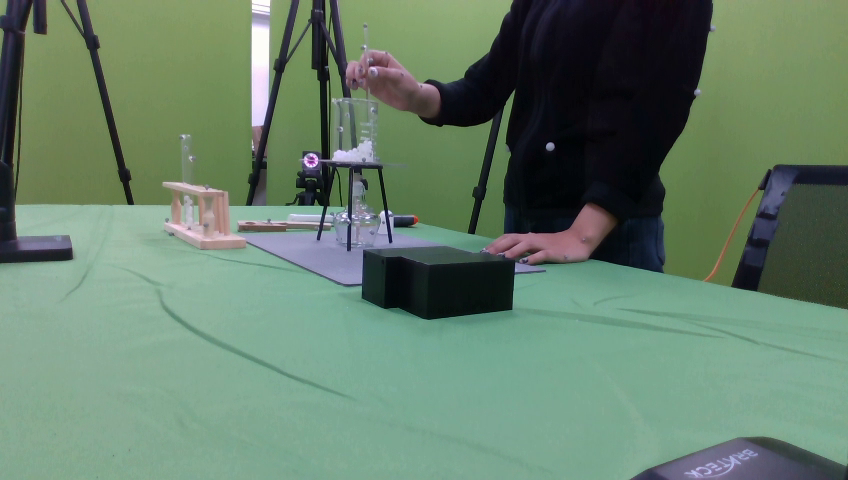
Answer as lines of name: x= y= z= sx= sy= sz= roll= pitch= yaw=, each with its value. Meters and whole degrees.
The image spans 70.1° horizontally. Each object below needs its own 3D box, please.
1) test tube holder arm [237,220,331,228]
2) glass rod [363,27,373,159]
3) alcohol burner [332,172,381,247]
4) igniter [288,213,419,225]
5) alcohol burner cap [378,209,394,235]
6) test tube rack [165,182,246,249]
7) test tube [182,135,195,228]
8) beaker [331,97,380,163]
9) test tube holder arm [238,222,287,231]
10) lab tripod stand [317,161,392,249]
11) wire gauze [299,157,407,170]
test tube holder arm: x=-0.261 y=-0.029 z=1.141 sx=0.179 sy=0.015 sz=0.013 roll=-2 pitch=43 yaw=-33
glass rod: x=-0.087 y=-0.226 z=0.934 sx=0.008 sy=0.199 sz=0.008 roll=-2 pitch=6 yaw=1
alcohol burner: x=-0.107 y=-0.048 z=0.961 sx=0.078 sy=0.119 sz=0.078 roll=1 pitch=9 yaw=0
igniter: x=-0.145 y=-0.044 z=1.278 sx=0.278 sy=0.025 sz=0.057 roll=-1 pitch=-2 yaw=-21
alcohol burner cap: x=-0.072 y=-0.035 z=1.145 sx=0.034 sy=0.048 sz=0.034 roll=2 pitch=7 yaw=0
test tube rack: x=-0.360 y=-0.044 z=0.982 sx=0.067 sy=0.085 sz=0.241 roll=-3 pitch=9 yaw=-34
test tube: x=-0.382 y=-0.095 z=0.983 sx=0.017 sy=0.150 sz=0.017 roll=-1 pitch=2 yaw=0
beaker: x=-0.111 y=-0.171 z=0.950 sx=0.073 sy=0.100 sz=0.084 roll=12 pitch=12 yaw=42
test tube holder arm: x=-0.297 y=-0.024 z=1.113 sx=0.088 sy=0.015 sz=0.010 roll=-1 pitch=42 yaw=-32
lab tripod stand: x=-0.111 y=-0.059 z=0.964 sx=0.148 sy=0.131 sz=0.148 roll=4 pitch=8 yaw=0
wire gauze: x=-0.112 y=-0.124 z=0.959 sx=0.121 sy=0.011 sz=0.126 roll=13 pitch=11 yaw=40
